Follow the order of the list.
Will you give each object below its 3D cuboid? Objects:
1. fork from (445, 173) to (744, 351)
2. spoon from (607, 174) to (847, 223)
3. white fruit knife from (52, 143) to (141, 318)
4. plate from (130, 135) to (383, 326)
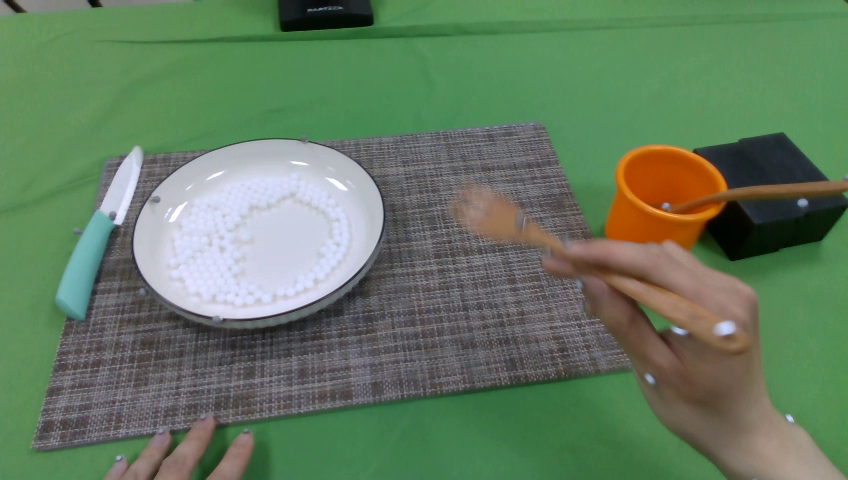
[{"bbox_3d":[0.080,0.005,0.339,0.028,0.019,0.205,-51,43,-4],"label":"fork"},{"bbox_3d":[0.232,-0.035,0.492,0.041,0.193,0.022,-37,104,-31],"label":"spoon"},{"bbox_3d":[-0.287,-0.020,0.542,0.027,0.016,0.205,20,43,-23],"label":"white fruit knife"},{"bbox_3d":[-0.139,-0.011,0.524,0.209,0.038,0.207,1,50,-1],"label":"plate"}]
